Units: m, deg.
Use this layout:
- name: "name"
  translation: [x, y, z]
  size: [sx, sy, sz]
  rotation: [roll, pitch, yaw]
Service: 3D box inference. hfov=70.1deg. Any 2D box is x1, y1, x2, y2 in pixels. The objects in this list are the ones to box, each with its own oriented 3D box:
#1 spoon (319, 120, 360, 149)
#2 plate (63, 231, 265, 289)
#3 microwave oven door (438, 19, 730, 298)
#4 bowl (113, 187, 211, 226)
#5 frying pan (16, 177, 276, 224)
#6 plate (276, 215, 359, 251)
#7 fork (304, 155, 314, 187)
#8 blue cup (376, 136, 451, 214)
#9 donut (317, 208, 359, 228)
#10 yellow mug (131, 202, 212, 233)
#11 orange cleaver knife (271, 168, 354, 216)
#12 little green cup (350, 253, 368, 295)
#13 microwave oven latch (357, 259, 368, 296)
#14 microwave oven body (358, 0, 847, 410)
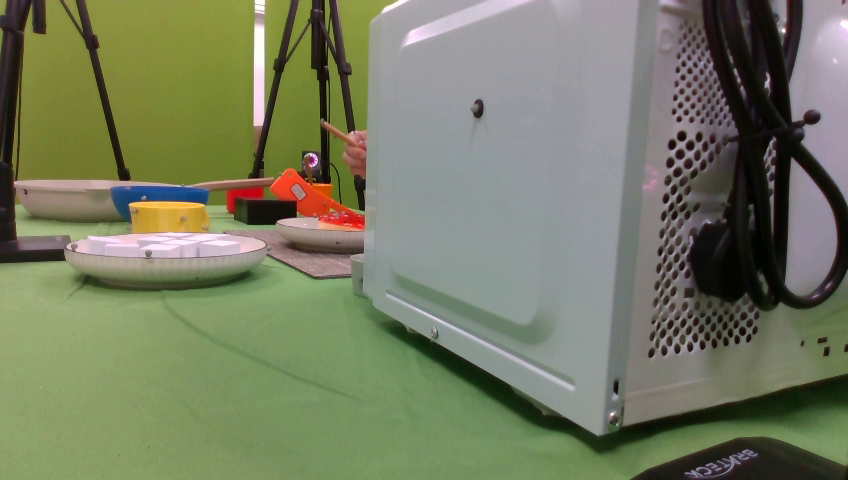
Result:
- name: "spoon"
  translation: [-0.087, -0.135, 0.967]
  size: [0.194, 0.021, 0.041]
  rotation: [39, 2, 1]
- name: "plate"
  translation: [-0.288, 0.021, 0.687]
  size: [0.208, 0.039, 0.207]
  rotation: [2, 8, 0]
- name: "microwave oven door"
  translation: [0.181, -0.076, 0.618]
  size: [0.358, 0.243, 0.039]
  rotation: [-2, 8, -28]
- name: "bowl"
  translation: [-0.436, -0.046, 1.013]
  size: [0.151, 0.077, 0.151]
  rotation: [2, 7, 0]
- name: "frying pan"
  translation: [-0.554, -0.097, 1.266]
  size: [0.490, 0.102, 0.305]
  rotation: [-10, 13, -24]
- name: "plate"
  translation: [-0.126, -0.012, 0.950]
  size: [0.209, 0.038, 0.209]
  rotation: [2, 7, 0]
- name: "fork"
  translation: [-0.268, -0.134, 1.446]
  size: [0.028, 0.018, 0.207]
  rotation: [1, -36, -1]
- name: "blue cup"
  translation: [-0.012, -0.097, 0.962]
  size: [0.092, 0.100, 0.092]
  rotation: [-40, -5, -3]
- name: "donut"
  translation: [-0.118, -0.024, 0.954]
  size: [0.099, 0.048, 0.099]
  rotation: [6, 7, 0]
- name: "yellow mug"
  translation: [-0.356, -0.020, 0.878]
  size: [0.099, 0.064, 0.131]
  rotation: [5, 7, 21]
- name: "orange cleaver knife"
  translation: [-0.236, -0.084, 1.332]
  size: [0.212, 0.077, 0.012]
  rotation: [31, -9, -31]
- name: "little green cup"
  translation: [-0.048, 0.035, 0.632]
  size: [0.061, 0.038, 0.061]
  rotation: [3, 6, 0]
- name: "microwave oven latch"
  translation: [-0.019, 0.031, 0.528]
  size: [0.079, 0.029, 0.030]
  rotation: [-1, 7, -25]
- name: "microwave oven body"
  translation: [0.210, -0.051, 0.471]
  size: [0.444, 0.260, 0.324]
  rotation: [-1, 7, -28]
